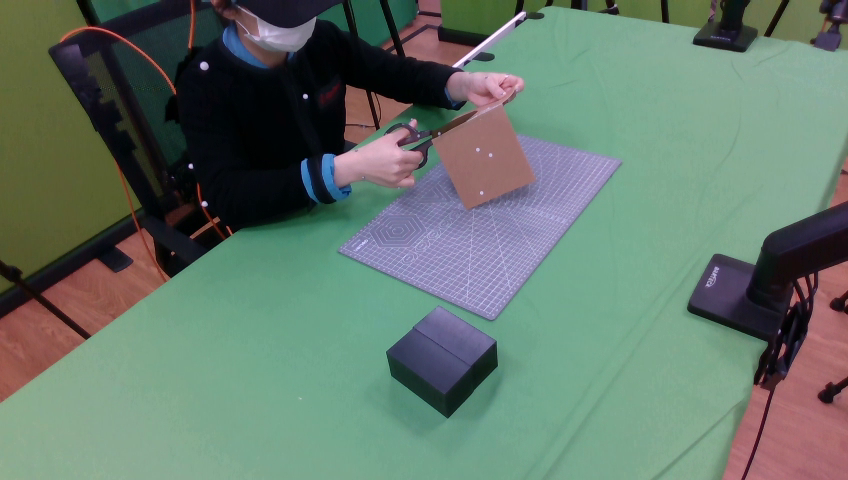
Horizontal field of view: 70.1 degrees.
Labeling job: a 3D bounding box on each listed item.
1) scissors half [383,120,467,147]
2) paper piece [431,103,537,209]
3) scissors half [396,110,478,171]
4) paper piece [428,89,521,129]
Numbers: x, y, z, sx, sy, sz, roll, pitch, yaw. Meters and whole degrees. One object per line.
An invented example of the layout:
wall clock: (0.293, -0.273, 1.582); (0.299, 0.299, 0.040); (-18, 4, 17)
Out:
scissors half: (0.011, -0.184, 1.001); (0.174, 0.040, 0.013); (-7, 32, 19)
paper piece: (0.097, -0.133, 0.988); (0.135, 0.136, 0.004); (-22, 10, 26)
scissors half: (0.022, -0.166, 1.009); (0.174, 0.040, 0.013); (-35, 15, 31)
paper piece: (0.090, -0.224, 1.039); (0.135, 0.008, 0.138); (-14, 15, 28)
